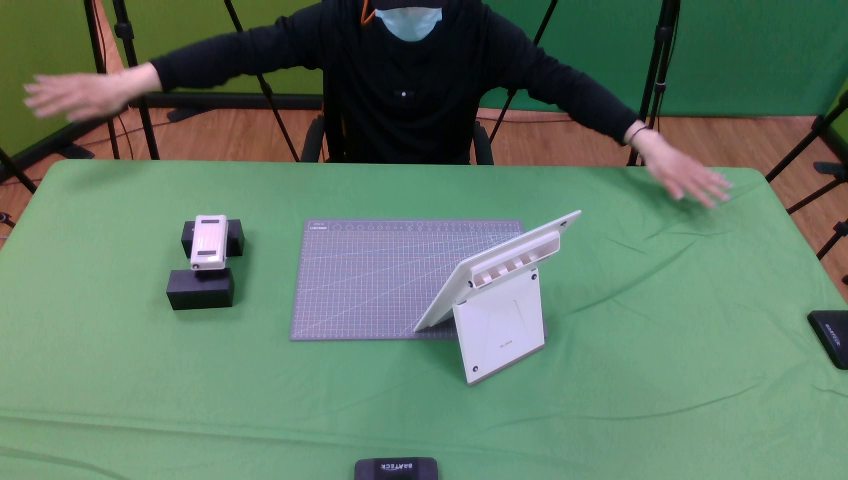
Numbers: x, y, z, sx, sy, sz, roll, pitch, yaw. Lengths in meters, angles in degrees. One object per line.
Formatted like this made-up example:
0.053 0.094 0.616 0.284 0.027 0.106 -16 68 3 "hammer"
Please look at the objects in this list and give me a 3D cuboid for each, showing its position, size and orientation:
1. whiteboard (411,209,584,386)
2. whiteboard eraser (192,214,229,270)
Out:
0.134 0.110 0.944 0.217 0.306 0.143 -21 72 -23 "whiteboard"
-0.381 0.005 1.083 0.056 0.042 0.112 0 50 -13 "whiteboard eraser"
